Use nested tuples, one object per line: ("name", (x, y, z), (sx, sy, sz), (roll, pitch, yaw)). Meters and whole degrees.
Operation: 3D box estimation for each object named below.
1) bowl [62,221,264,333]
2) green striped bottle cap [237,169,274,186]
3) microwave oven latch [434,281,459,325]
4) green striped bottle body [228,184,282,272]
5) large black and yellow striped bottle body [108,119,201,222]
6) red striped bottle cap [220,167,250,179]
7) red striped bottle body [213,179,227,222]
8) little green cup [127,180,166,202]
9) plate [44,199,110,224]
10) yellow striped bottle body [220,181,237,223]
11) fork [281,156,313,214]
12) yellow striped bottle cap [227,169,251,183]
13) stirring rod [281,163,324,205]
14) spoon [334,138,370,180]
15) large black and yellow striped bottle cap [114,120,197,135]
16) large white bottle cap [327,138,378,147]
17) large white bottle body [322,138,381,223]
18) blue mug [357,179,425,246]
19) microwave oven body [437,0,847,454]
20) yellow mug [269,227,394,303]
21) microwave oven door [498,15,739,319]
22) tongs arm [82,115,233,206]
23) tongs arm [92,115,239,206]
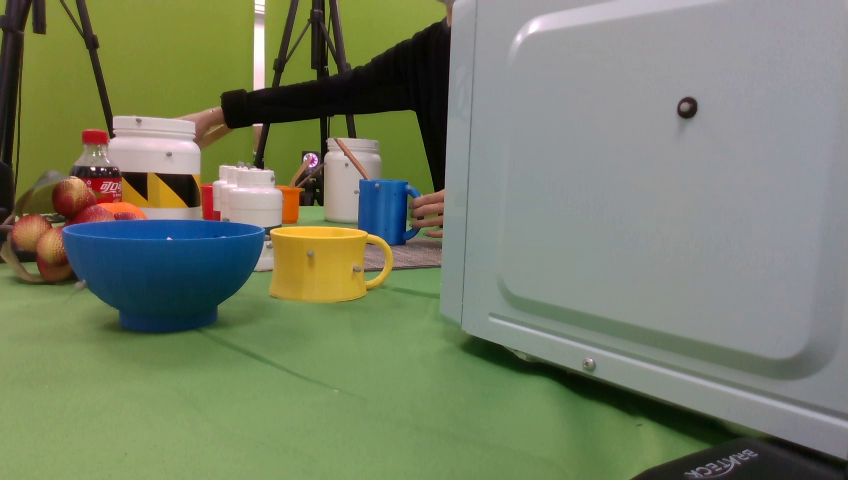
("bowl", (-0.209, 0.029, 0.496), (0.151, 0.077, 0.151), (2, 7, 0))
("green striped bottle cap", (-0.205, -0.075, 0.737), (0.044, 0.020, 0.044), (2, 4, 0))
("microwave oven latch", (0.044, 0.045, 0.470), (0.079, 0.029, 0.030), (-2, 8, -39))
("green striped bottle body", (-0.208, -0.023, 0.745), (0.063, 0.119, 0.063), (2, 7, 0))
("large black and yellow striped bottle body", (-0.412, -0.088, 0.930), (0.131, 0.184, 0.130), (3, 7, 0))
("red striped bottle cap", (-0.281, -0.100, 0.901), (0.044, 0.017, 0.044), (-1, 5, 0))
("red striped bottle body", (-0.284, -0.048, 0.909), (0.063, 0.119, 0.063), (3, 10, 0))
("little green cup", (-0.485, -0.087, 1.062), (0.061, 0.038, 0.061), (0, 6, 0))
("plate", (-0.617, -0.056, 1.179), (0.209, 0.038, 0.209), (3, 7, 0))
("yellow striped bottle body", (-0.246, -0.036, 0.825), (0.063, 0.120, 0.063), (3, 8, 0))
("fork", (-0.289, -0.116, 1.320), (0.028, 0.019, 0.207), (-2, 48, 27))
("yellow striped bottle cap", (-0.243, -0.087, 0.818), (0.044, 0.018, 0.044), (3, 6, 0))
("stirring rod", (-0.278, -0.105, 1.293), (0.176, 0.006, 0.014), (-47, 25, -18))
("spoon", (-0.095, -0.093, 1.016), (0.021, 0.193, 0.042), (-32, -3, 18))
("large black and yellow striped bottle cap", (-0.407, -0.171, 0.920), (0.115, 0.019, 0.115), (2, 9, 0))
("large white bottle cap", (-0.160, -0.218, 1.357), (0.115, 0.018, 0.115), (2, 8, 0))
("large white bottle body", (-0.163, -0.135, 1.368), (0.131, 0.184, 0.130), (3, 7, 0))
("blue mug", (-0.054, -0.046, 1.005), (0.116, 0.106, 0.082), (5, 8, 18))
("microwave oven body", (0.279, -0.040, 0.464), (0.444, 0.260, 0.324), (-3, 9, -41))
("yellow mug", (-0.094, 0.023, 0.629), (0.131, 0.064, 0.099), (0, 7, -22))
("microwave oven door", (0.216, -0.065, 0.602), (0.358, 0.243, 0.039), (-4, 11, -41))
("tongs arm", (-0.561, -0.179, 1.303), (0.028, 0.028, 0.388), (12, 41, 32))
("tongs arm", (-0.540, -0.174, 1.292), (0.050, 0.026, 0.386), (18, 44, 32))
